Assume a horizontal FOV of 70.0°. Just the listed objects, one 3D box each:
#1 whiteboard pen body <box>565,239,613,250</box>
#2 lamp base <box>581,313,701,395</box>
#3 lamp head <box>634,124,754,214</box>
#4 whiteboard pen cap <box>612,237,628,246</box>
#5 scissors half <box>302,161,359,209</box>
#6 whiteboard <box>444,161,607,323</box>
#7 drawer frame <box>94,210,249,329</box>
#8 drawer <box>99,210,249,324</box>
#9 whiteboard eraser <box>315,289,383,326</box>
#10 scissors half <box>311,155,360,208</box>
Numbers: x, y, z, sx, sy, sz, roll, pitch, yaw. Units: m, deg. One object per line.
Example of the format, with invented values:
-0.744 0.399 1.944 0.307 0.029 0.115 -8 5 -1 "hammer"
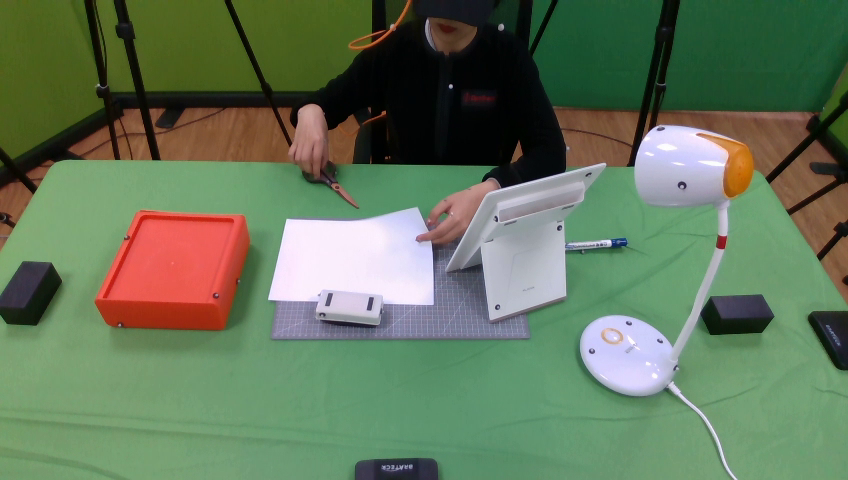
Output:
0.331 0.008 1.211 0.141 0.017 0.017 -5 47 -4 "whiteboard pen body"
0.361 0.144 0.972 0.178 0.181 0.160 34 53 23 "lamp base"
0.351 -0.089 0.775 0.112 0.113 0.122 -30 30 -28 "lamp head"
0.390 0.004 1.215 0.033 0.018 0.018 -7 47 -2 "whiteboard pen cap"
-0.202 -0.115 1.302 0.174 0.013 0.040 36 74 21 "scissors half"
0.186 0.025 1.029 0.217 0.306 0.143 -14 68 -18 "whiteboard"
-0.434 0.048 1.076 0.202 0.083 0.212 2 47 -3 "drawer frame"
-0.435 0.044 1.081 0.194 0.073 0.210 3 47 -2 "drawer"
-0.130 0.119 1.054 0.113 0.042 0.055 6 47 1 "whiteboard eraser"
-0.187 -0.127 1.307 0.040 0.013 0.174 -33 65 -14 "scissors half"
